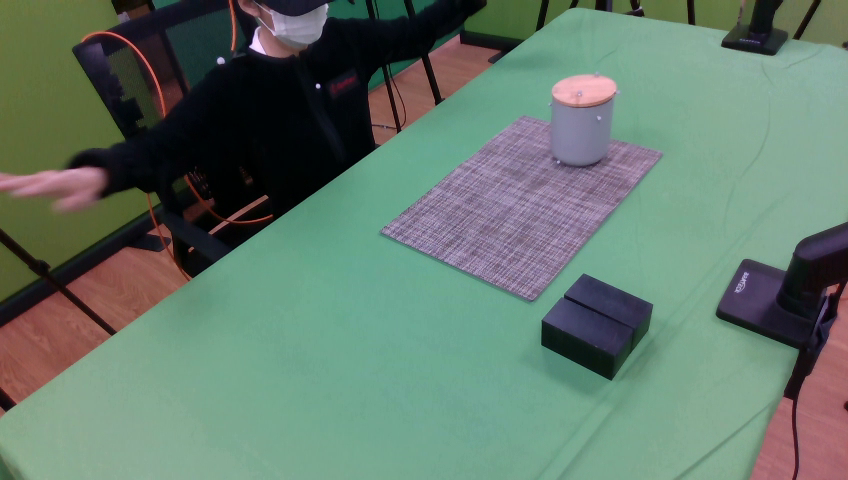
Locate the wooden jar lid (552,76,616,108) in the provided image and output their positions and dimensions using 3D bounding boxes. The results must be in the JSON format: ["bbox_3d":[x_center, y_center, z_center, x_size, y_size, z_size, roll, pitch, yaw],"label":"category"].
[{"bbox_3d":[0.276,-0.252,1.046,0.108,0.021,0.108,-6,39,5],"label":"wooden jar lid"}]

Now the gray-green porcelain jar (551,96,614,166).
[{"bbox_3d":[0.282,-0.205,1.086,0.106,0.127,0.105,-4,40,4],"label":"gray-green porcelain jar"}]
